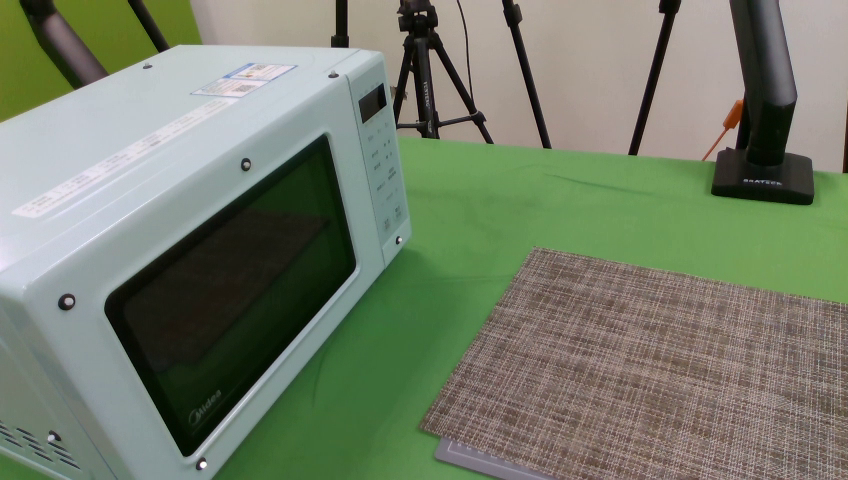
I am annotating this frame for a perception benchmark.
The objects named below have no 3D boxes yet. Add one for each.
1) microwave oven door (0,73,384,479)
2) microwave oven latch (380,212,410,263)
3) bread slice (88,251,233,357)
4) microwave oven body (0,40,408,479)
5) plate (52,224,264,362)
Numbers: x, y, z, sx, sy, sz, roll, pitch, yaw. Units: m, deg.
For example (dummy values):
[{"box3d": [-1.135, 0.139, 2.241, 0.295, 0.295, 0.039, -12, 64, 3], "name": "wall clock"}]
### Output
[{"box3d": [-0.151, 0.030, 0.536, 0.039, 0.246, 0.354, 9, 37, 24], "name": "microwave oven door"}, {"box3d": [-0.044, -0.005, 0.751, 0.030, 0.030, 0.079, 10, 38, 25], "name": "microwave oven latch"}, {"box3d": [-0.270, 0.057, 0.633, 0.104, 0.019, 0.131, 17, 45, 31], "name": "bread slice"}, {"box3d": [-0.264, -0.009, 0.629, 0.324, 0.262, 0.440, 10, 38, 24], "name": "microwave oven body"}, {"box3d": [-0.267, 0.054, 0.629, 0.209, 0.038, 0.207, -6, 33, 4], "name": "plate"}]
